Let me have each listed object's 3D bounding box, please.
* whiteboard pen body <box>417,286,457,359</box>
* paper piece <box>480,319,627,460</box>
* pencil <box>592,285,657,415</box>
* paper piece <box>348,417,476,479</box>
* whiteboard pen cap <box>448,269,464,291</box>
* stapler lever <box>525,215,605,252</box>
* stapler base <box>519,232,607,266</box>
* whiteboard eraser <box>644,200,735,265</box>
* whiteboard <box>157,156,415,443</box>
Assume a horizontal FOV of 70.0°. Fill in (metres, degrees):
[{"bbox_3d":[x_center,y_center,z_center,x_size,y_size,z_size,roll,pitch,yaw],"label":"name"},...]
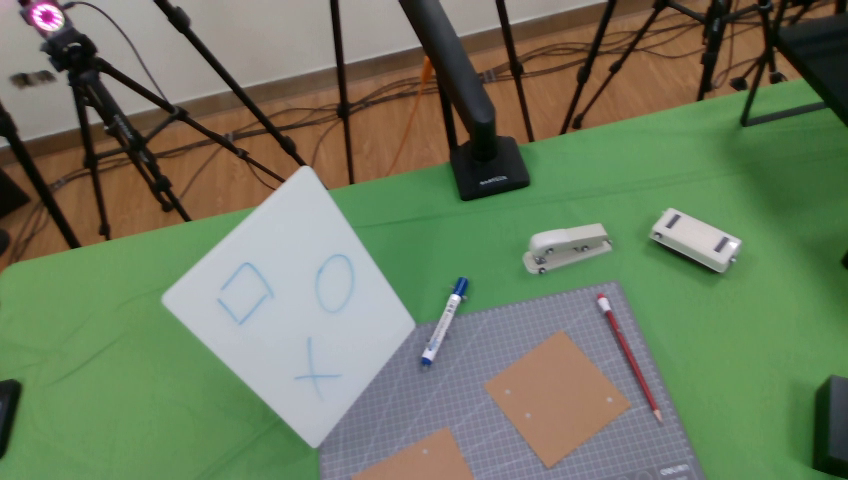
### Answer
[{"bbox_3d":[0.024,0.105,0.862,0.017,0.017,0.140,15,57,20],"label":"whiteboard pen body"},{"bbox_3d":[0.164,0.188,0.783,0.136,0.009,0.137,-34,58,-10],"label":"paper piece"},{"bbox_3d":[0.264,0.141,0.799,0.012,0.012,0.192,-16,55,-2],"label":"pencil"},{"bbox_3d":[-0.007,0.301,0.730,0.135,0.004,0.134,-25,54,-9],"label":"paper piece"},{"bbox_3d":[0.047,0.060,0.890,0.018,0.018,0.033,13,57,19],"label":"whiteboard pen cap"},{"bbox_3d":[0.206,-0.013,0.887,0.118,0.040,0.026,-17,56,-4],"label":"stapler lever"},{"bbox_3d":[0.208,0.002,0.906,0.130,0.024,0.041,-17,56,-5],"label":"stapler base"},{"bbox_3d":[0.381,-0.010,0.872,0.111,0.042,0.055,32,67,28],"label":"whiteboard eraser"},{"bbox_3d":[-0.186,0.070,0.783,0.142,0.309,0.216,16,57,45],"label":"whiteboard"}]
